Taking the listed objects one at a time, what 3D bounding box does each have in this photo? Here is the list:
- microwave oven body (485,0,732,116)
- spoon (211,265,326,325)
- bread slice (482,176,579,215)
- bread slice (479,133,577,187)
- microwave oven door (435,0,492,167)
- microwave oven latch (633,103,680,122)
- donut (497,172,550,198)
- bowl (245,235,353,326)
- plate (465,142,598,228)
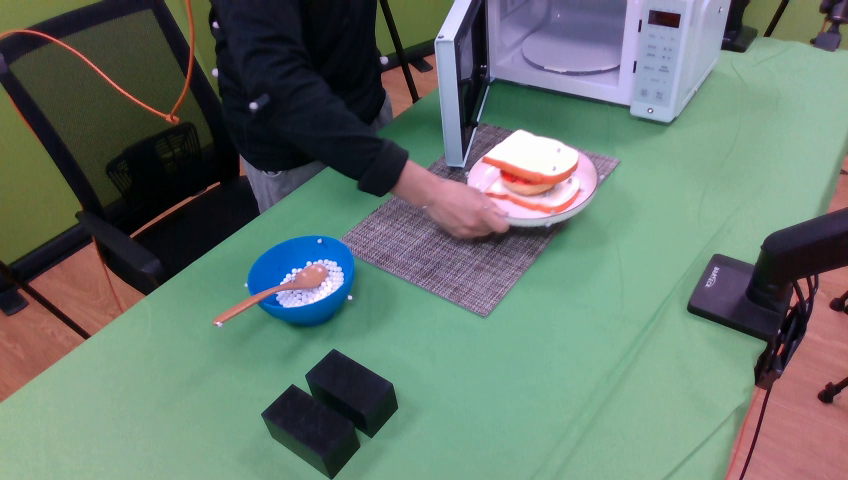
[{"bbox_3d":[0.377,-0.463,1.267,0.438,0.261,0.327,21,49,30],"label":"microwave oven body"},{"bbox_3d":[-0.208,0.072,0.822,0.041,0.021,0.195,27,29,26],"label":"spoon"},{"bbox_3d":[0.177,-0.084,0.964,0.133,0.018,0.107,20,50,29],"label":"bread slice"},{"bbox_3d":[0.167,-0.124,0.924,0.130,0.019,0.105,25,47,30],"label":"bread slice"},{"bbox_3d":[0.083,-0.340,1.159,0.039,0.245,0.355,4,42,14],"label":"microwave oven door"},{"bbox_3d":[0.443,-0.249,1.158,0.078,0.029,0.030,21,49,30],"label":"microwave oven latch"},{"bbox_3d":[0.162,-0.108,0.945,0.099,0.048,0.098,-11,48,13],"label":"donut"},{"bbox_3d":[-0.170,0.070,0.868,0.151,0.077,0.150,-4,41,4],"label":"bowl"},{"bbox_3d":[0.170,-0.086,0.967,0.207,0.039,0.206,-5,42,5],"label":"plate"}]
